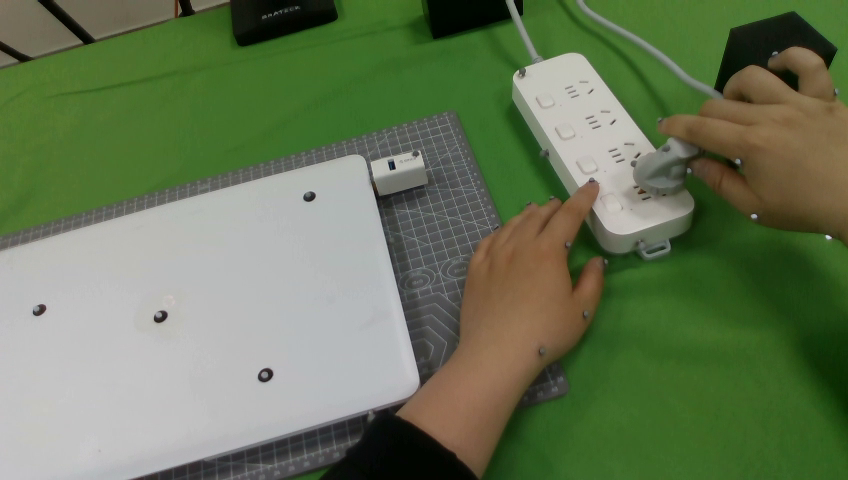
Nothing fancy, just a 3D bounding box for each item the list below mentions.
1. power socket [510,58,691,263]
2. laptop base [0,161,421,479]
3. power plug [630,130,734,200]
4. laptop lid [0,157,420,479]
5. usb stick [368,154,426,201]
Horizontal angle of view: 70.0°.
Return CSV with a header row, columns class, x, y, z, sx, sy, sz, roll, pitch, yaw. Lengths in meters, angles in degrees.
class,x,y,z,sx,sy,sz,roll,pitch,yaw
power socket,0.139,-0.077,0.509,0.072,0.033,0.224,-17,53,-4
laptop base,-0.195,0.069,0.470,0.354,0.023,0.233,-16,56,-2
power plug,0.187,-0.048,0.441,0.072,0.053,0.035,-5,57,-2
laptop lid,-0.196,0.064,0.459,0.357,0.013,0.239,-15,55,-1
usb stick,-0.029,-0.051,0.514,0.059,0.027,0.021,-17,51,2
